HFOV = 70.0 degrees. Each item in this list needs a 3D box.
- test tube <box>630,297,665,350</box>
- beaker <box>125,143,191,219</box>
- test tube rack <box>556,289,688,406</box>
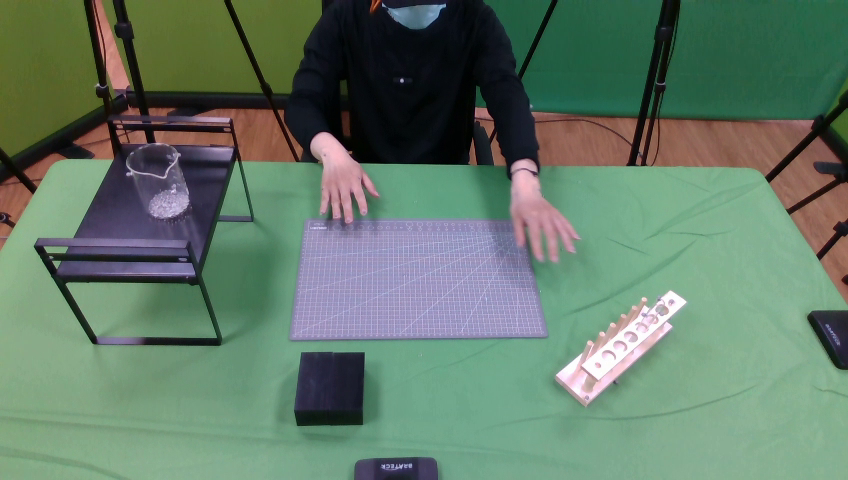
[{"bbox_3d":[0.354,0.137,0.973,0.017,0.151,0.017,2,52,-2],"label":"test tube"},{"bbox_3d":[-0.409,-0.088,0.946,0.074,0.101,0.083,-28,54,-26],"label":"beaker"},{"bbox_3d":[0.332,0.166,1.014,0.242,0.085,0.066,-30,55,-28],"label":"test tube rack"}]
